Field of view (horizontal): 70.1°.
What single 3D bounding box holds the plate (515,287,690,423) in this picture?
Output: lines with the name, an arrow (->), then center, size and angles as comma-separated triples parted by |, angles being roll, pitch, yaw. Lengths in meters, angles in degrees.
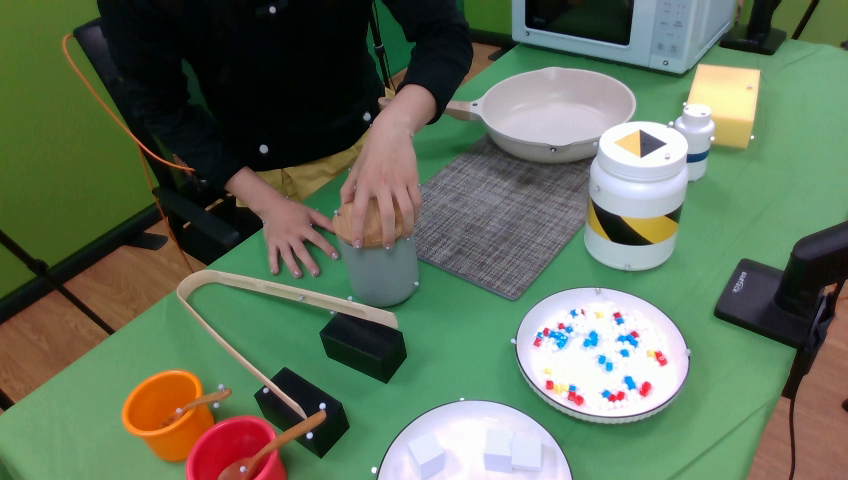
plate -> 0.221, 0.144, 0.760 | 0.209, 0.038, 0.208 | -4, 40, 4

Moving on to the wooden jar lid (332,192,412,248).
wooden jar lid -> -0.070, -0.026, 0.818 | 0.108, 0.021, 0.108 | -4, 39, 3

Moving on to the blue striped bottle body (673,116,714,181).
blue striped bottle body -> 0.451, -0.166, 1.023 | 0.063, 0.121, 0.063 | -5, 41, 4

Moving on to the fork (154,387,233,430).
fork -> -0.264, 0.191, 0.687 | 0.206, 0.018, 0.028 | -33, 8, 44

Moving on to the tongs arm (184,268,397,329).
tongs arm -> -0.202, 0.084, 0.848 | 0.382, 0.027, 0.051 | 11, 45, 34

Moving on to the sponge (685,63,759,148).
sponge -> 0.569, -0.263, 1.164 | 0.117, 0.061, 0.207 | 12, 45, 22

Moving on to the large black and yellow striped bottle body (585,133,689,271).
large black and yellow striped bottle body -> 0.305, -0.061, 0.874 | 0.131, 0.185, 0.130 | -4, 41, 4

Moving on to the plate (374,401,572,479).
plate -> 0.051, 0.268, 0.639 | 0.207, 0.039, 0.206 | -3, 40, 3

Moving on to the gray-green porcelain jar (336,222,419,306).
gray-green porcelain jar -> -0.064, 0.024, 0.872 | 0.106, 0.127, 0.105 | -4, 41, 4

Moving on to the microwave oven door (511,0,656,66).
microwave oven door -> 0.350, -0.539, 1.348 | 0.353, 0.245, 0.039 | 24, 50, 31

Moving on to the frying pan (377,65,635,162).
frying pan -> 0.150, -0.254, 1.177 | 0.488, 0.103, 0.306 | 7, 41, 3

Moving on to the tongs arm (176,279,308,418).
tongs arm -> -0.255, 0.132, 0.801 | 0.028, 0.028, 0.384 | -41, 40, -23

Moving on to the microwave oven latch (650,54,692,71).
microwave oven latch -> 0.531, -0.386, 1.301 | 0.078, 0.029, 0.030 | 25, 51, 33

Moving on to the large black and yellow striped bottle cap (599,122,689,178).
large black and yellow striped bottle cap -> 0.297, -0.123, 0.818 | 0.115, 0.019, 0.114 | -5, 40, 4

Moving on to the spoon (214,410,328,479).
spoon -> -0.165, 0.224, 0.639 | 0.193, 0.022, 0.041 | -40, 32, 30

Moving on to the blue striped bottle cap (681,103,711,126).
blue striped bottle cap -> 0.445, -0.205, 0.990 | 0.044, 0.021, 0.044 | -5, 43, 5

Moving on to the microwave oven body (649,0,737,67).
microwave oven body -> 0.475, -0.602, 1.411 | 0.438, 0.261, 0.327 | 23, 50, 32
